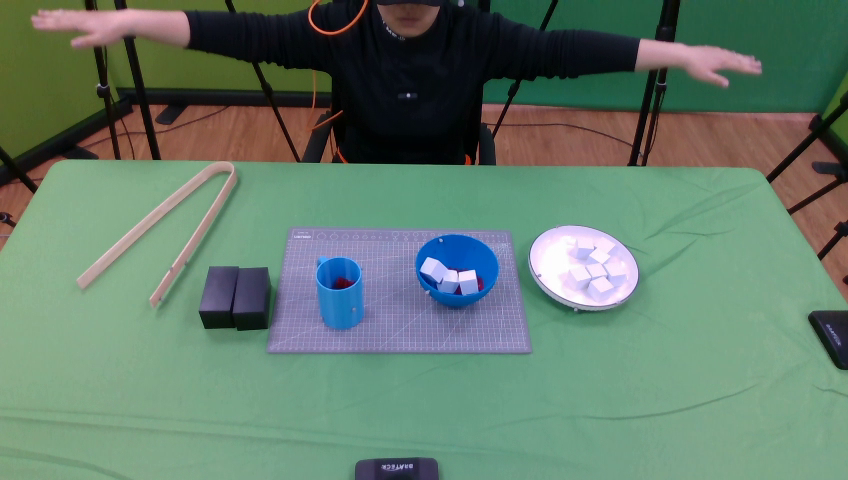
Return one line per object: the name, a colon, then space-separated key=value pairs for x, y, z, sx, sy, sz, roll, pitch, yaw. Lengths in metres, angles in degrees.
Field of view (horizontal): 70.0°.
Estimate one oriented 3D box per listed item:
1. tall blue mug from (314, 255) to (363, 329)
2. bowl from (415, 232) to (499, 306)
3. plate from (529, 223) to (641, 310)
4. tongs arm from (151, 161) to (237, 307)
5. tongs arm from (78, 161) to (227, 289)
tall blue mug: x=-0.157 y=0.085 z=1.040 sx=0.107 sy=0.108 sz=0.077 roll=23 pitch=50 yaw=18
bowl: x=0.057 y=0.067 z=1.093 sx=0.151 sy=0.077 sz=0.150 roll=2 pitch=46 yaw=-2
plate: x=0.303 y=0.053 z=1.156 sx=0.209 sy=0.038 sz=0.208 roll=2 pitch=46 yaw=-1
tongs arm: x=-0.447 y=-0.026 z=1.180 sx=0.051 sy=0.027 sz=0.383 roll=8 pitch=46 yaw=10
tongs arm: x=-0.524 y=-0.043 z=1.196 sx=0.028 sy=0.028 sz=0.386 roll=15 pitch=47 yaw=22
